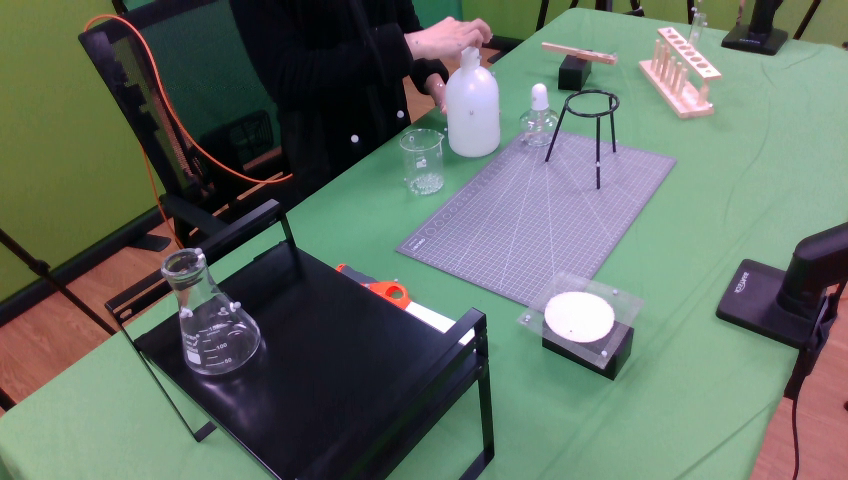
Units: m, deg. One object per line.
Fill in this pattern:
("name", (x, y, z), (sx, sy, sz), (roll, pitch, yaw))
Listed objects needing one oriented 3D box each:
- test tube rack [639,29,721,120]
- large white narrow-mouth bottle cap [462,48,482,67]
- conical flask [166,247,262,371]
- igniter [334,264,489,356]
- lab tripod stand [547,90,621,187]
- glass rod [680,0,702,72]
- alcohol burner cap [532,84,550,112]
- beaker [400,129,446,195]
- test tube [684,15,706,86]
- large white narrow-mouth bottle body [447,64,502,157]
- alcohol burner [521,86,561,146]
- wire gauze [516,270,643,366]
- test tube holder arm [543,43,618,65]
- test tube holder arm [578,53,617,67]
("test tube rack", (0.527, -0.351, 1.262), (0.067, 0.085, 0.241), (-8, 40, 1))
("large white narrow-mouth bottle cap", (0.086, -0.328, 1.085), (0.038, 0.024, 0.037), (-4, 40, 4))
("conical flask", (-0.209, 0.064, 0.584), (0.075, 0.122, 0.075), (-5, 40, 4))
("igniter", (-0.029, 0.095, 0.871), (0.274, 0.025, 0.057), (22, 59, 31))
("lab tripod stand", (0.288, -0.184, 1.062), (0.148, 0.132, 0.147), (-6, 41, 6))
("glass rod", (0.542, -0.417, 1.233), (0.008, 0.200, 0.008), (1, 40, 0))
("alcohol burner cap", (0.218, -0.269, 1.133), (0.034, 0.048, 0.033), (-8, 36, 7))
("beaker", (0.004, -0.140, 1.087), (0.084, 0.101, 0.073), (-20, 42, -14))
("test tube", (0.540, -0.378, 1.215), (0.017, 0.151, 0.017), (-2, 44, 3))
("large white narrow-mouth bottle body", (0.094, -0.261, 1.142), (0.102, 0.195, 0.101), (-4, 40, 4))
("alcohol burner", (0.223, -0.241, 1.155), (0.078, 0.119, 0.077), (-5, 43, 5))
("wire gauze", (0.200, 0.093, 0.777), (0.124, 0.011, 0.122), (23, 49, 32))
("test tube holder arm", (0.344, -0.413, 1.340), (0.177, 0.015, 0.013), (25, 50, 31))
("test tube holder arm", (0.376, -0.393, 1.314), (0.087, 0.015, 0.010), (26, 51, 32))
